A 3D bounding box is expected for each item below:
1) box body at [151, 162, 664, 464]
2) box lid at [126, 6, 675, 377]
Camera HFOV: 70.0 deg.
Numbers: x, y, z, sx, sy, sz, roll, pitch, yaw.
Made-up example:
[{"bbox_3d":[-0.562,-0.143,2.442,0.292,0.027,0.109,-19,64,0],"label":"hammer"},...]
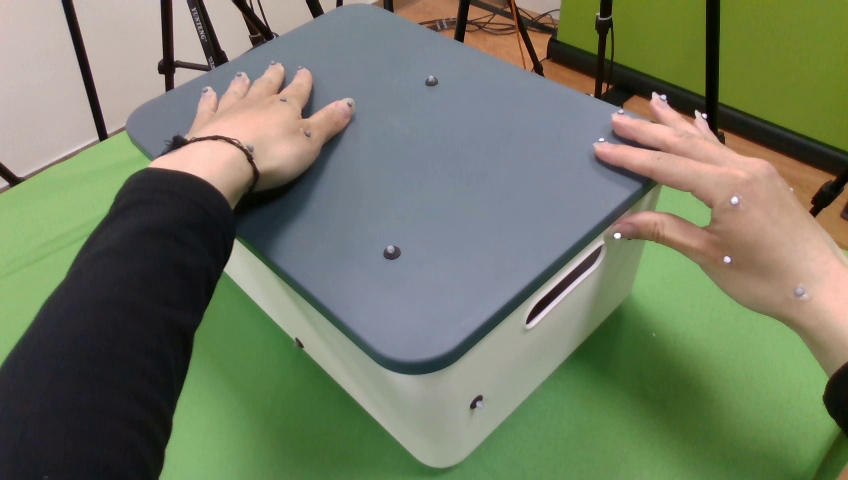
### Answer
[{"bbox_3d":[-0.027,-0.027,0.509,0.254,0.162,0.360,-37,52,-25],"label":"box body"},{"bbox_3d":[-0.035,-0.077,0.455,0.263,0.015,0.368,-38,53,-25],"label":"box lid"}]
